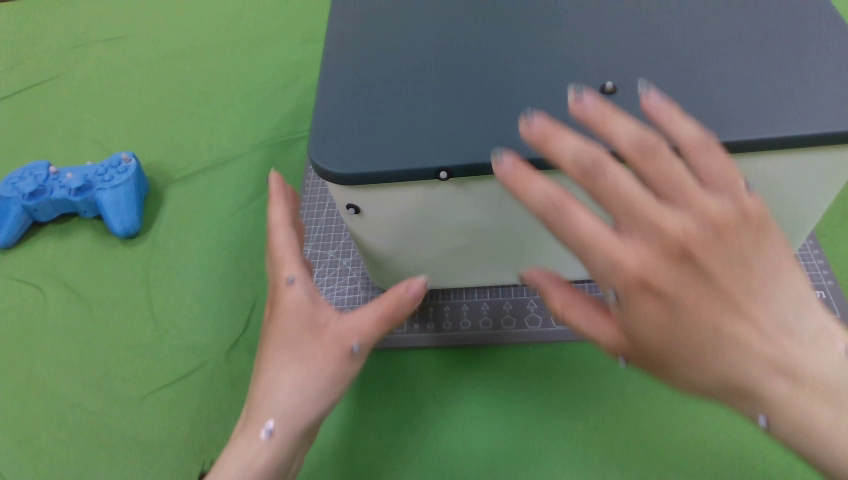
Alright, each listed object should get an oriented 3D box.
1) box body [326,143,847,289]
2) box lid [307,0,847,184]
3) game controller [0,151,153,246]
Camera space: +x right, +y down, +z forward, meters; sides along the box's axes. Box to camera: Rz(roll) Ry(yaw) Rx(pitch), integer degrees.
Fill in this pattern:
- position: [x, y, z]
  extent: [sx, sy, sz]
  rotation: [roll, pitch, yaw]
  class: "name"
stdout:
- position: [0.115, -0.105, 0.501]
  extent: [0.364, 0.162, 0.251]
  rotation: [-4, 52, 5]
  class: "box body"
- position: [0.104, -0.151, 0.444]
  extent: [0.371, 0.015, 0.260]
  rotation: [-4, 52, 5]
  class: "box lid"
- position: [-0.349, -0.047, 0.601]
  extent: [0.155, 0.052, 0.096]
  rotation: [-4, 48, 5]
  class: "game controller"
